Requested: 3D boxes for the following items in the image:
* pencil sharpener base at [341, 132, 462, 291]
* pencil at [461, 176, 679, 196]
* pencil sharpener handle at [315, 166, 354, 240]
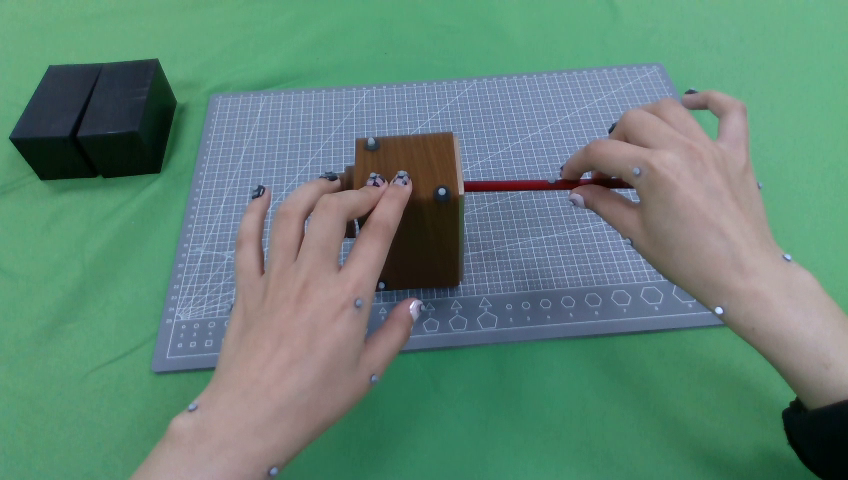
[{"bbox_3d":[-0.013,-0.016,0.428,0.077,0.108,0.061,-4,52,0],"label":"pencil sharpener base"},{"bbox_3d":[0.073,-0.034,0.406,0.194,0.012,0.012,-2,52,0],"label":"pencil"},{"bbox_3d":[-0.065,-0.021,0.419,0.030,0.068,0.035,-4,55,0],"label":"pencil sharpener handle"}]
